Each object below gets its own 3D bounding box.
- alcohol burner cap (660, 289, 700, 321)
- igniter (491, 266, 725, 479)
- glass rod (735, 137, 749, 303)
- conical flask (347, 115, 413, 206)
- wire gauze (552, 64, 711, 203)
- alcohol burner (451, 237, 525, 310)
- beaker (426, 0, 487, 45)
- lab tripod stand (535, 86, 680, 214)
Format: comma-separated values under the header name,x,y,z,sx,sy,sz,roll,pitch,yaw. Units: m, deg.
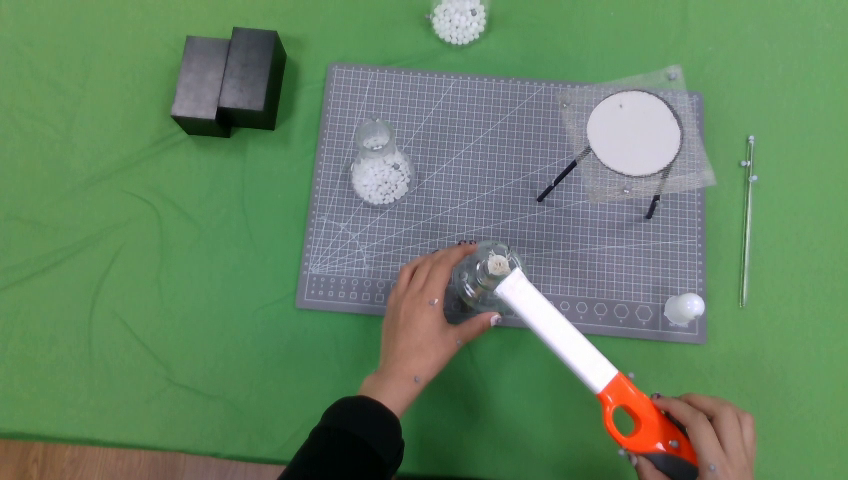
name,x,y,z,sx,sy,sz,roll,pitch,yaw
alcohol burner cap,0.277,0.068,0.648,0.034,0.048,0.033,0,77,-1
igniter,0.165,0.133,0.539,0.057,0.025,0.276,-43,85,-13
glass rod,0.362,-0.026,0.690,0.008,0.008,0.199,10,77,2
conical flask,-0.051,-0.088,0.641,0.075,0.122,0.075,0,76,0
wire gauze,0.195,-0.101,0.570,0.125,0.011,0.121,-11,77,-3
alcohol burner,0.067,0.031,0.619,0.078,0.119,0.077,0,77,-1
beaker,0.040,-0.283,0.702,0.084,0.100,0.073,-35,79,-8
lab tripod stand,0.196,-0.088,0.637,0.148,0.132,0.147,0,78,1
